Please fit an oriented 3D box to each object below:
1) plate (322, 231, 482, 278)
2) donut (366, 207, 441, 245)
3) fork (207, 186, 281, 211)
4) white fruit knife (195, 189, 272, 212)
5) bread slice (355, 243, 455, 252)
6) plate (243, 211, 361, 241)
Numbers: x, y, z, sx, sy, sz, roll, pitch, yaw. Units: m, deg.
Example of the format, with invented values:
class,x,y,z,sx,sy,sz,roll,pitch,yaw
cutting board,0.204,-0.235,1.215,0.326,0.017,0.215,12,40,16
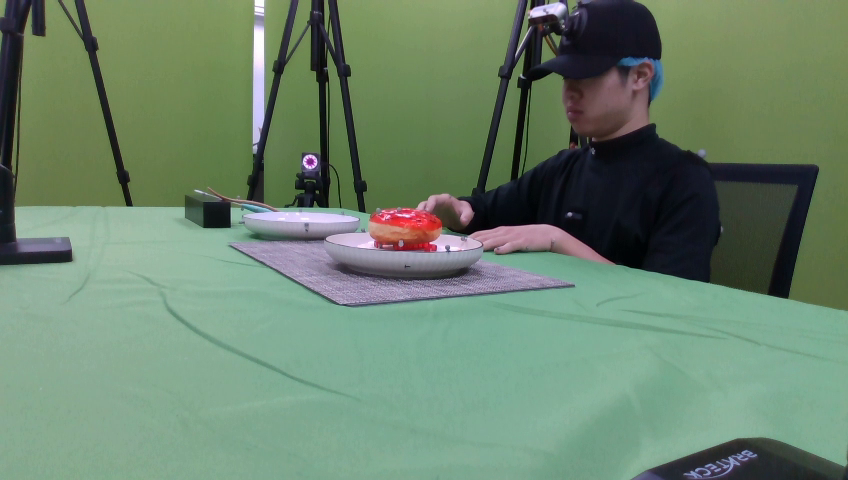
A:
class,x,y,z,sx,sy,sz,roll,pitch,yaw
plate,-0.028,0.018,0.789,0.209,0.038,0.209,3,7,0
donut,-0.027,-0.017,0.786,0.099,0.048,0.099,3,7,0
fork,-0.342,-0.070,1.244,0.208,0.018,0.028,18,-5,-24
white fruit knife,-0.378,-0.073,1.270,0.208,0.016,0.027,18,-4,-32
bread slice,-0.027,0.020,0.794,0.131,0.019,0.105,6,7,17
plate,-0.219,-0.025,1.092,0.208,0.039,0.207,3,7,0
